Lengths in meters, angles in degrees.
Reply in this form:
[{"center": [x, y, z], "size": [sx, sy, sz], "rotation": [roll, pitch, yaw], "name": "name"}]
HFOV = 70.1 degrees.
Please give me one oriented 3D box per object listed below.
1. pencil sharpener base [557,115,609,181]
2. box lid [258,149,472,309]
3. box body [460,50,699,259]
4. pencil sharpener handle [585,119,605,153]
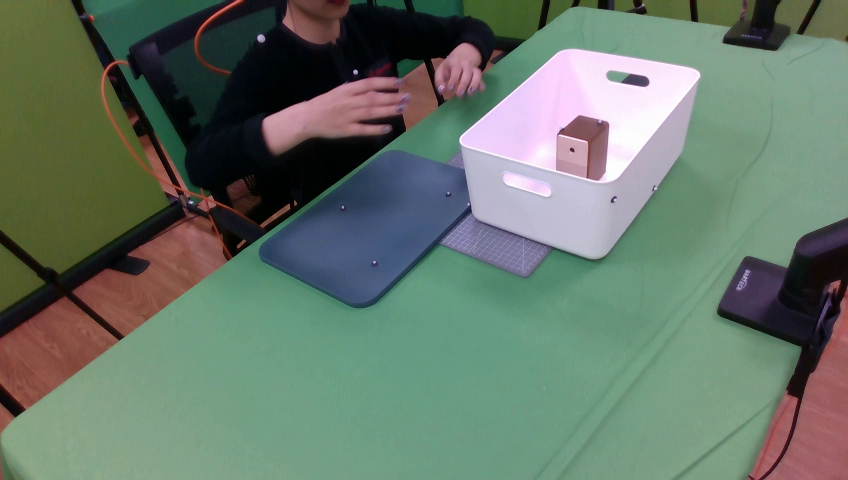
[{"center": [0.270, -0.147, 1.024], "size": [0.061, 0.107, 0.077], "rotation": [22, 49, 33], "name": "pencil sharpener base"}, {"center": [-0.078, -0.040, 1.052], "size": [0.261, 0.015, 0.372], "rotation": [22, 49, 32], "name": "box lid"}, {"center": [0.261, -0.153, 1.001], "size": [0.252, 0.161, 0.365], "rotation": [21, 48, 31], "name": "box body"}, {"center": [0.301, -0.184, 1.044], "size": [0.035, 0.068, 0.031], "rotation": [20, 48, 35], "name": "pencil sharpener handle"}]
